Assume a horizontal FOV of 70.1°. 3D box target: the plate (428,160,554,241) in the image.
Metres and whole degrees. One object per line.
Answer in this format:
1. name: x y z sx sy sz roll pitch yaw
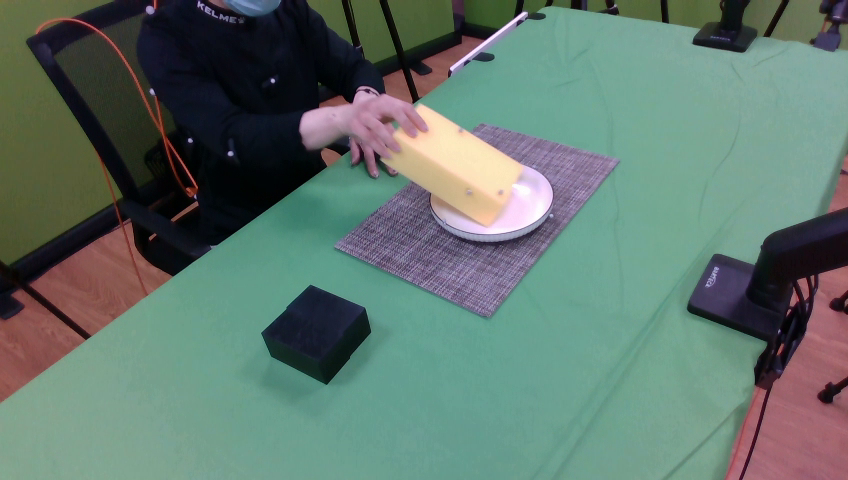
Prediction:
1. plate: 0.112 -0.065 1.011 0.207 0.039 0.206 -4 41 4

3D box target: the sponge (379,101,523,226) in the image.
1. sponge: 0.047 -0.126 0.989 0.207 0.061 0.118 31 46 -2
